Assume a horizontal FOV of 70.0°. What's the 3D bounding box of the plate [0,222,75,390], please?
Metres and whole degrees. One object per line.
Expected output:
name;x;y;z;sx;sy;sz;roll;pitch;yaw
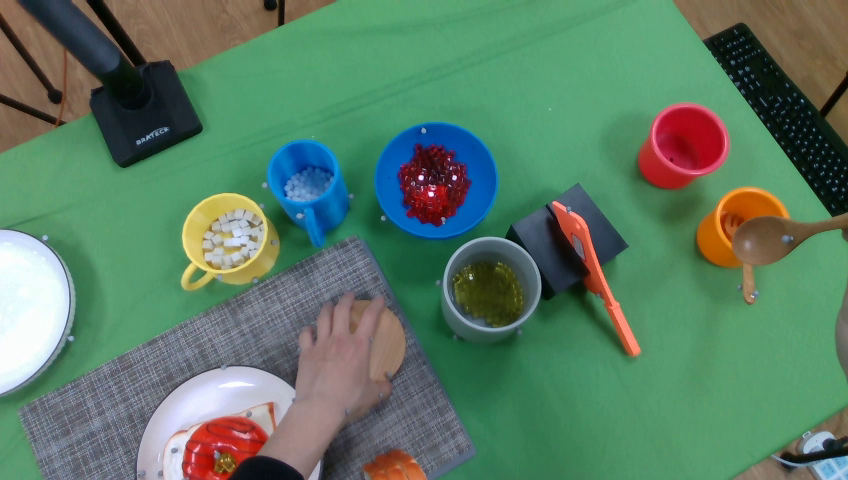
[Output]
plate;-0.524;0.082;0.731;0.208;0.039;0.206;0;75;-1

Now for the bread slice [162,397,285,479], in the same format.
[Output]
bread slice;-0.229;0.248;0.692;0.132;0.019;0.104;-14;75;-9

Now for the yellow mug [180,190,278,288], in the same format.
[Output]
yellow mug;-0.247;0.007;0.741;0.099;0.064;0.130;39;79;10

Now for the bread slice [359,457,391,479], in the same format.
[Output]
bread slice;-0.039;0.280;0.637;0.018;0.135;0.106;-20;74;-16

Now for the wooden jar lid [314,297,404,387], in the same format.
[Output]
wooden jar lid;-0.078;0.123;0.733;0.108;0.021;0.108;0;76;-1

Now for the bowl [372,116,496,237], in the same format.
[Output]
bowl;0.012;-0.068;0.759;0.151;0.077;0.150;0;75;0

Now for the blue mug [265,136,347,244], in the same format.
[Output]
blue mug;-0.139;-0.053;0.739;0.082;0.106;0.116;-8;75;-3

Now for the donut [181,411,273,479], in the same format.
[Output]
donut;-0.214;0.237;0.661;0.099;0.048;0.098;1;76;-4

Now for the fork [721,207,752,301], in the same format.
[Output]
fork;0.367;0.011;0.706;0.028;0.019;0.206;33;33;2

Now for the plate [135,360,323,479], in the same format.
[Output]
plate;-0.216;0.243;0.689;0.209;0.038;0.208;0;75;0

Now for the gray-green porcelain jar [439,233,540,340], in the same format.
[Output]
gray-green porcelain jar;0.070;0.059;0.701;0.106;0.127;0.105;0;75;-1

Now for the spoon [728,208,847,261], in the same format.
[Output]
spoon;0.289;-0.014;0.428;0.022;0.194;0.041;-4;83;-12

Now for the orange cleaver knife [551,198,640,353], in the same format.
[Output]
orange cleaver knife;0.205;0.043;0.730;0.012;0.076;0.212;-31;107;-8
